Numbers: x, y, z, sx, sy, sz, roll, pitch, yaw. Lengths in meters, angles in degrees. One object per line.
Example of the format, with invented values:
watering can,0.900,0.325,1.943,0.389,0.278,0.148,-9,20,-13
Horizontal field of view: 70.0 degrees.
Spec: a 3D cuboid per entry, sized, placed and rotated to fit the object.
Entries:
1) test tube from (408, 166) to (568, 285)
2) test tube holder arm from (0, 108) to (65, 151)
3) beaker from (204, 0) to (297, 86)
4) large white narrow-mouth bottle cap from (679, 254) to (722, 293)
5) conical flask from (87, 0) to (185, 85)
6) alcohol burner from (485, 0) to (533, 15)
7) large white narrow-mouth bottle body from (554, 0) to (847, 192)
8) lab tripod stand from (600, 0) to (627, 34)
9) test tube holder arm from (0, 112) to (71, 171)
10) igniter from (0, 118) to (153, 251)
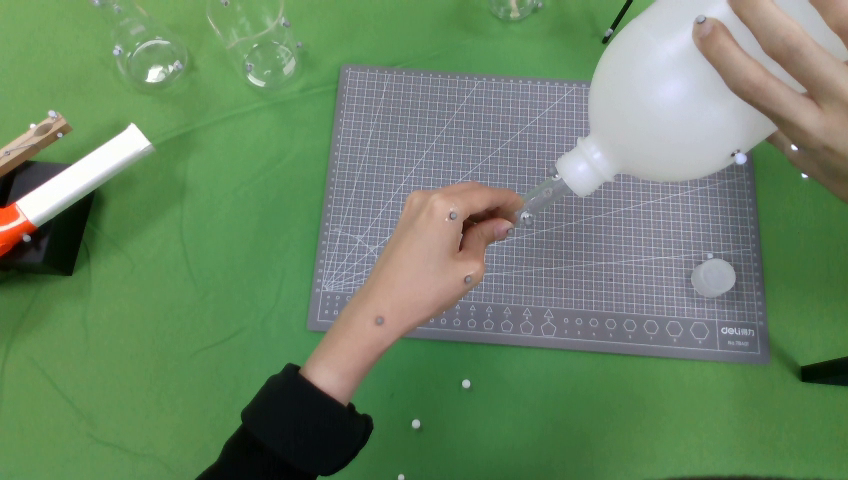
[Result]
test tube,0.042,-0.007,0.429,0.150,0.017,0.017,-36,71,32
test tube holder arm,-0.420,-0.068,0.573,0.178,0.015,0.013,-39,77,-12
beaker,-0.176,-0.212,0.629,0.074,0.101,0.083,19,74,6
large white narrow-mouth bottle cap,0.274,0.034,0.600,0.038,0.024,0.037,0,74,0
conical flask,-0.301,-0.220,0.617,0.075,0.122,0.075,0,72,0
alcohol burner,0.098,-0.301,0.653,0.078,0.120,0.077,1,71,-2
large white narrow-mouth bottle body,0.157,-0.097,0.342,0.195,0.102,0.101,-40,74,24
lab tripod stand,0.267,-0.287,0.640,0.148,0.132,0.147,1,72,-2
test tube holder arm,-0.383,-0.091,0.582,0.088,0.015,0.010,-38,77,-12
igniter,-0.378,-0.022,0.557,0.276,0.025,0.057,-40,79,-15
